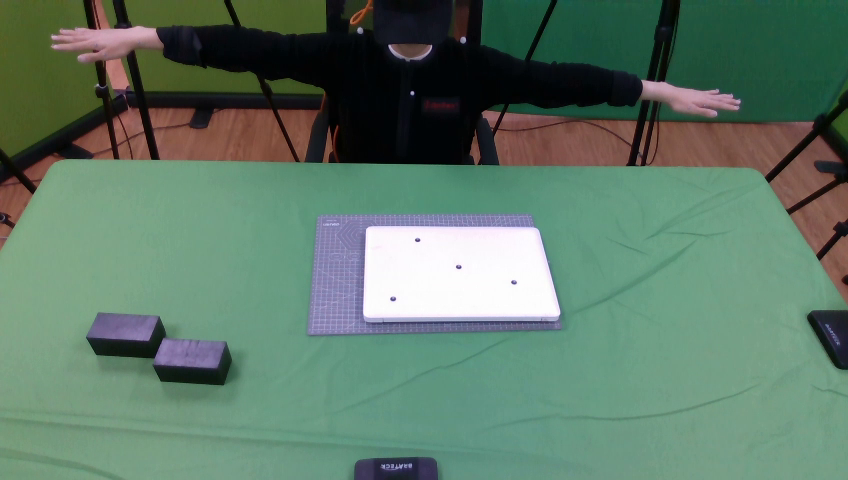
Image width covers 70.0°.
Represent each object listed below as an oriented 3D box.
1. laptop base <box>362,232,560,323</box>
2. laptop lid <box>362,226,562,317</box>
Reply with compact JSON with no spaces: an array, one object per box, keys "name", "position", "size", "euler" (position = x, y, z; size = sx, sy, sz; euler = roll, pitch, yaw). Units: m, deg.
[{"name":"laptop base","position":[0.064,0.063,1.143],"size":[0.355,0.023,0.234],"euler":[0,42,-4]},{"name":"laptop lid","position":[0.064,0.053,1.136],"size":[0.357,0.013,0.240],"euler":[1,44,-3]}]
